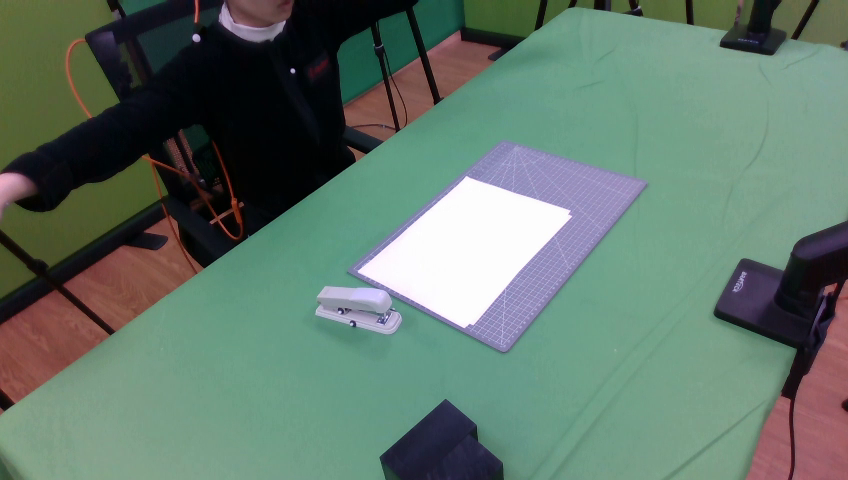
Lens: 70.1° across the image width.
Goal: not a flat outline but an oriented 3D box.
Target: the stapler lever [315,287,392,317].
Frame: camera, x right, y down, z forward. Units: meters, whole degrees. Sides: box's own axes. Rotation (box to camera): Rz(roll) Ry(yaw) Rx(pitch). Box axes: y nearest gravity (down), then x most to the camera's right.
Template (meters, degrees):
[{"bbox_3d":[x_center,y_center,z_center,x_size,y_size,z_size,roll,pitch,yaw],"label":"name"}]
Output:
[{"bbox_3d":[-0.101,0.082,0.852,0.117,0.040,0.027,10,41,22],"label":"stapler lever"}]

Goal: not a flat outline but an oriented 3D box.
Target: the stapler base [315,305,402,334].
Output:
[{"bbox_3d":[-0.096,0.101,0.868,0.130,0.024,0.041,10,41,22],"label":"stapler base"}]
